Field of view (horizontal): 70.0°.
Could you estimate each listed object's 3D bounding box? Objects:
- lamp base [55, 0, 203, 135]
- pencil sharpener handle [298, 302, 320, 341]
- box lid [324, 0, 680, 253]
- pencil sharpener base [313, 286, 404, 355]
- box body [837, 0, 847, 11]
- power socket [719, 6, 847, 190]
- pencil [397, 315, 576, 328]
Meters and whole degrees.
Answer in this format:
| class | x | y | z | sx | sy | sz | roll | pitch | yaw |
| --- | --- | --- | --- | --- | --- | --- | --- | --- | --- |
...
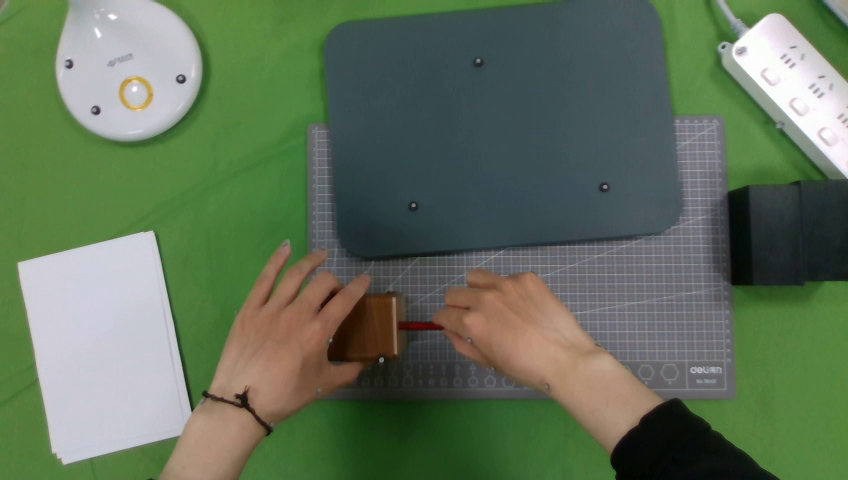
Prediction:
| class | x | y | z | sx | sy | sz | roll | pitch | yaw |
| --- | --- | --- | --- | --- | --- | --- | --- | --- | --- |
| lamp base | -0.332 | -0.209 | 0.587 | 0.160 | 0.180 | 0.178 | -32 | 83 | 0 |
| pencil sharpener handle | -0.113 | 0.077 | 0.586 | 0.030 | 0.068 | 0.036 | -1 | 92 | 2 |
| box lid | 0.083 | -0.128 | 0.654 | 0.371 | 0.015 | 0.262 | -5 | 87 | 2 |
| pencil sharpener base | -0.061 | 0.077 | 0.597 | 0.077 | 0.107 | 0.061 | -1 | 87 | 2 |
| box body | 0.620 | -0.238 | 0.566 | 0.254 | 0.160 | 0.363 | -45 | 86 | -1 |
| power socket | 0.410 | -0.147 | 0.634 | 0.072 | 0.032 | 0.226 | -41 | 86 | -1 |
| pencil | 0.046 | 0.076 | 0.571 | 0.194 | 0.012 | 0.012 | 1 | 87 | -1 |
